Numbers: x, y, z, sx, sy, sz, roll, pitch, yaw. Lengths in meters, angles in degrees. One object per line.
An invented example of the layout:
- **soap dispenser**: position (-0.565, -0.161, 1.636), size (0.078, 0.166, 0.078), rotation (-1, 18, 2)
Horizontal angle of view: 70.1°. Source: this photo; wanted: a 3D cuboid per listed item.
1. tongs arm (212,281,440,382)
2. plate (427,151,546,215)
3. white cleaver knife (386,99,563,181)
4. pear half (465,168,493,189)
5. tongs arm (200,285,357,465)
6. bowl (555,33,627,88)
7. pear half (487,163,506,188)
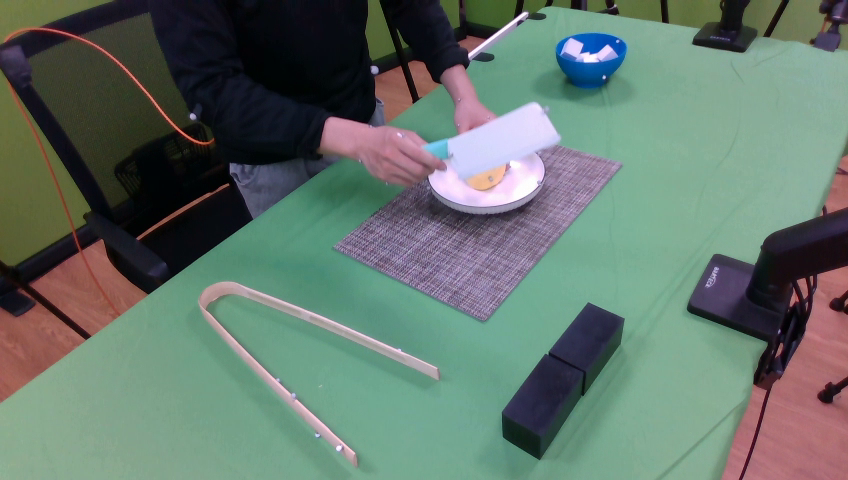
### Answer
- **tongs arm**: position (-0.147, 0.121, 0.846), size (0.385, 0.028, 0.028), rotation (17, 48, 25)
- **plate**: position (0.109, -0.107, 1.059), size (0.207, 0.039, 0.206), rotation (-4, 41, 4)
- **white cleaver knife**: position (0.051, -0.113, 0.794), size (0.284, 0.066, 0.021), rotation (-13, 23, 45)
- **pear half**: position (0.085, -0.123, 1.027), size (0.070, 0.088, 0.031), rotation (30, 51, 31)
- **tongs arm**: position (-0.199, 0.162, 0.797), size (0.381, 0.026, 0.051), rotation (28, 50, 35)
- **bowl**: position (0.360, -0.384, 1.317), size (0.151, 0.077, 0.150), rotation (-4, 41, 4)
- **pear half**: position (0.110, -0.149, 1.038), size (0.076, 0.110, 0.056), rotation (32, 55, 30)
